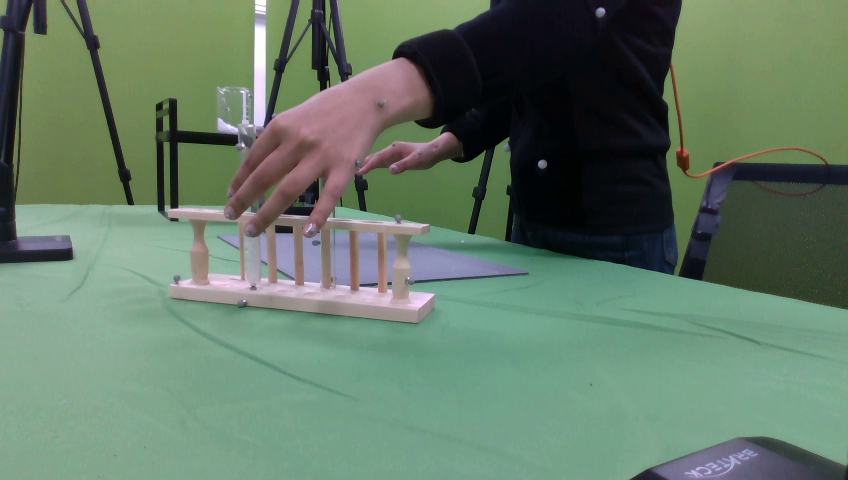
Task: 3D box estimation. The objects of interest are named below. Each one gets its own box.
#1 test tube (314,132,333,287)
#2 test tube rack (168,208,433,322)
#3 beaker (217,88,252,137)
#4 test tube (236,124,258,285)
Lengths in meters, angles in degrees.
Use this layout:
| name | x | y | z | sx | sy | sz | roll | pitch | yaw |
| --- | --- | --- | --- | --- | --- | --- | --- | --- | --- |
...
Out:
| name | x | y | z | sx | sy | sz | roll | pitch | yaw |
| --- | --- | --- | --- | --- | --- | --- | --- | --- | --- |
| test tube | -0.097 | -0.028 | 0.583 | 0.017 | 0.150 | 0.017 | 0 | 8 | 0 |
| test tube rack | -0.116 | 0.017 | 0.573 | 0.242 | 0.085 | 0.067 | 4 | 8 | 13 |
| beaker | -0.412 | -0.276 | 1.309 | 0.074 | 0.100 | 0.084 | 4 | 8 | 16 |
| test tube | -0.163 | -0.031 | 0.558 | 0.017 | 0.150 | 0.017 | 1 | 11 | 0 |
